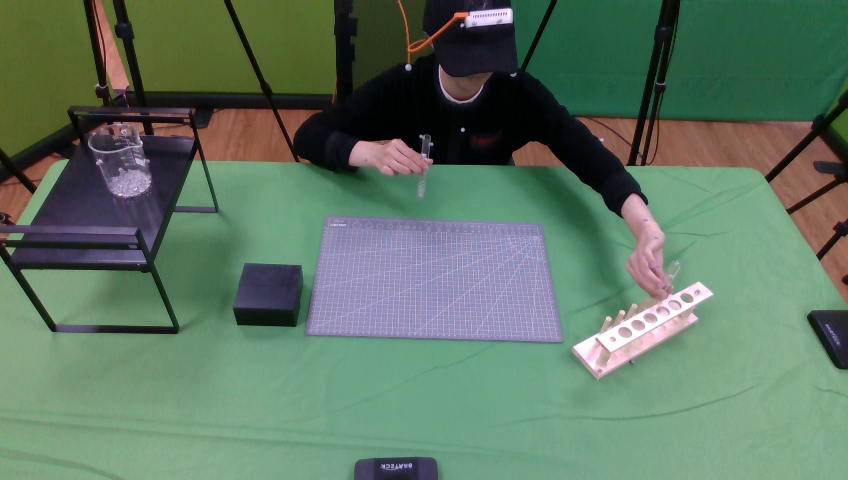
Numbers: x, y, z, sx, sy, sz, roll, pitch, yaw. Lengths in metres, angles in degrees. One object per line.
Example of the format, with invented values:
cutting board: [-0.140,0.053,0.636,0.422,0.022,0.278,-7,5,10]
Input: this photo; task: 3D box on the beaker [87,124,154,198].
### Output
beaker: [-0.482,-0.124,0.978,0.084,0.101,0.073,9,46,4]

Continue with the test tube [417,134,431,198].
test tube: [0.000,-0.139,1.167,0.017,0.151,0.017,3,45,-3]

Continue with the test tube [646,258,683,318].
test tube: [0.408,0.083,1.032,0.017,0.151,0.017,3,46,-3]

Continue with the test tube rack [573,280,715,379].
test tube rack: [0.378,0.140,1.038,0.242,0.085,0.066,-22,51,-23]
